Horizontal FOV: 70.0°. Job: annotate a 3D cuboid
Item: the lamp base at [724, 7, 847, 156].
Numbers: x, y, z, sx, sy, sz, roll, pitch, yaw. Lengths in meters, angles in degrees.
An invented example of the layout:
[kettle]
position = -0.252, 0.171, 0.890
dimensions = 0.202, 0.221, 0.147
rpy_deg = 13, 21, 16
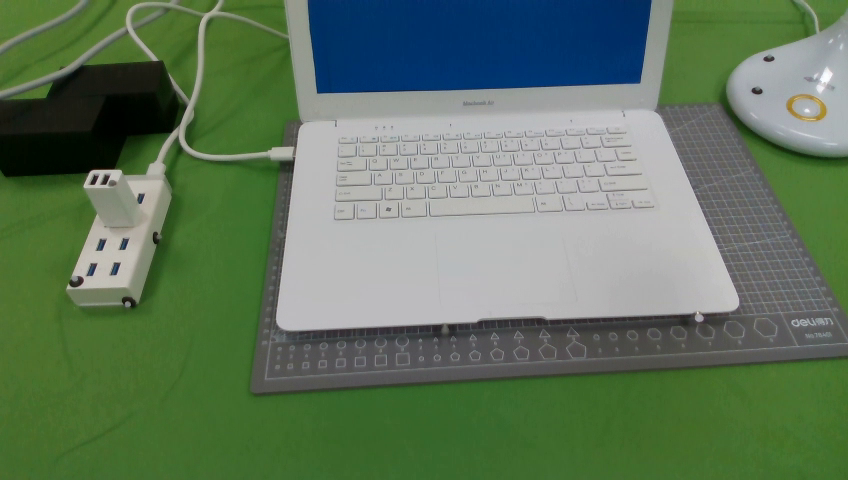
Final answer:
[lamp base]
position = 0.396, -0.200, 0.569
dimensions = 0.160, 0.182, 0.178
rpy_deg = 21, 51, 17

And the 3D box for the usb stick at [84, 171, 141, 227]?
[usb stick]
position = -0.247, -0.028, 0.487
dimensions = 0.027, 0.060, 0.021
rpy_deg = -4, 50, -1

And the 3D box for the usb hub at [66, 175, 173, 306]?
[usb hub]
position = -0.249, -0.003, 0.504
dimensions = 0.049, 0.025, 0.124
rpy_deg = -2, 50, -1

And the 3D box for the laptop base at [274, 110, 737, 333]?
[laptop base]
position = 0.059, -0.026, 0.528
dimensions = 0.354, 0.023, 0.233
rpy_deg = -2, 54, -2

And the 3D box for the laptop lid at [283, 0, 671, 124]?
[laptop lid]
position = 0.050, -0.219, 0.545
dimensions = 0.357, 0.243, 0.013
rpy_deg = -4, 29, -2
